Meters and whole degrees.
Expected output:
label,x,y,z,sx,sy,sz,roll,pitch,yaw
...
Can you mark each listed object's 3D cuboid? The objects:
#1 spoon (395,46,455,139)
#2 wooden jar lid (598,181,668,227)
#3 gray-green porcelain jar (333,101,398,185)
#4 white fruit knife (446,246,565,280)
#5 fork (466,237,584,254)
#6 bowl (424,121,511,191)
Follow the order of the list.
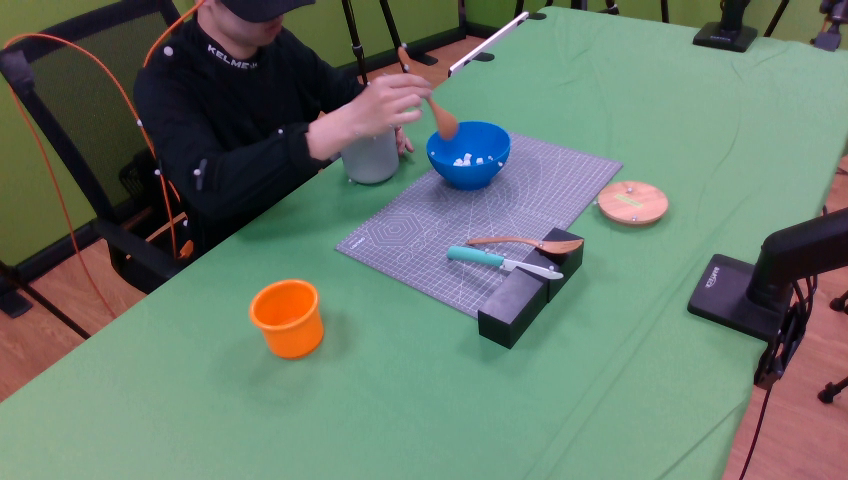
label,x,y,z,sx,sy,sz,roll,pitch,yaw
spoon,0.001,-0.231,0.964,0.041,0.195,0.021,-45,42,-6
wooden jar lid,0.340,-0.058,0.988,0.108,0.021,0.108,-5,41,5
gray-green porcelain jar,-0.104,-0.174,1.108,0.106,0.127,0.105,-4,41,4
white fruit knife,0.111,0.033,0.868,0.205,0.027,0.016,11,44,40
fork,0.142,0.005,0.894,0.205,0.019,0.028,4,43,41
bowl,0.080,-0.141,1.074,0.151,0.077,0.150,-4,40,4
